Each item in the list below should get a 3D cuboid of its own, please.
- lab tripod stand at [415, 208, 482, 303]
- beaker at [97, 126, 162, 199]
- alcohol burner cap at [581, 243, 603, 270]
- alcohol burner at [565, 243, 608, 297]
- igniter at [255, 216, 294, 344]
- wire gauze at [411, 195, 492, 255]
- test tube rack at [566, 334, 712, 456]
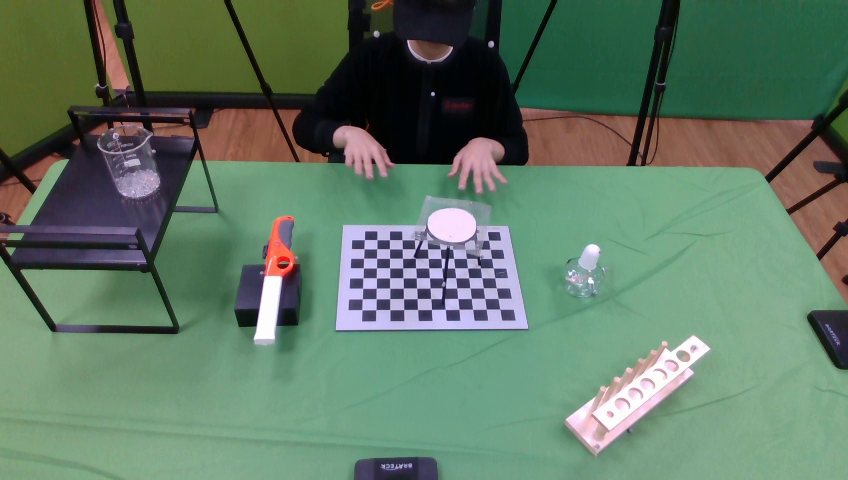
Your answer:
[{"bbox_3d":[0.043,0.018,1.097,0.148,0.132,0.147,1,46,0],"label":"lab tripod stand"},{"bbox_3d":[-0.468,-0.124,0.979,0.084,0.101,0.073,-25,53,-26],"label":"beaker"},{"bbox_3d":[0.302,0.026,1.082,0.034,0.048,0.033,4,45,-4],"label":"alcohol burner cap"},{"bbox_3d":[0.299,0.048,1.103,0.078,0.119,0.077,3,45,-3],"label":"alcohol burner"},{"bbox_3d":[-0.258,0.059,1.051,0.057,0.025,0.274,2,47,-6],"label":"igniter"},{"bbox_3d":[0.049,-0.031,1.051,0.125,0.011,0.121,12,47,9],"label":"wire gauze"},{"bbox_3d":[0.338,0.228,0.950,0.242,0.085,0.066,-26,52,-26],"label":"test tube rack"}]
